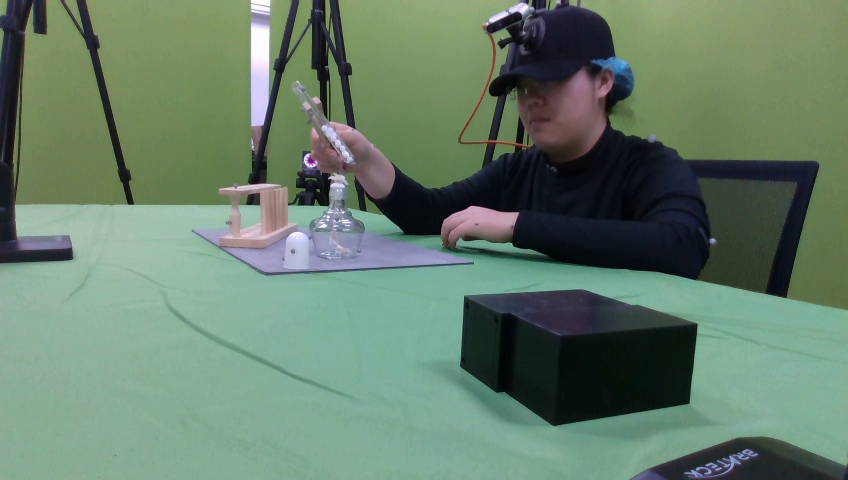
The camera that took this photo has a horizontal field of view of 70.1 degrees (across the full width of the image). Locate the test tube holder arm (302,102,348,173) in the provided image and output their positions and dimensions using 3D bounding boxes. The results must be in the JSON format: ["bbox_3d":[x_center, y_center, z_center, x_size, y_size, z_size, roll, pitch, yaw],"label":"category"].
[{"bbox_3d":[-0.146,-0.150,0.910,0.015,0.013,0.179,48,-8,24],"label":"test tube holder arm"}]

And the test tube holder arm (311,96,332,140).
[{"bbox_3d":[-0.147,-0.173,0.871,0.010,0.015,0.088,-35,-25,-16],"label":"test tube holder arm"}]

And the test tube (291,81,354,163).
[{"bbox_3d":[-0.142,-0.165,0.844,0.017,0.150,0.017,-33,-16,-11],"label":"test tube"}]

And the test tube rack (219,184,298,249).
[{"bbox_3d":[-0.266,-0.045,1.001,0.067,0.085,0.242,3,7,0],"label":"test tube rack"}]

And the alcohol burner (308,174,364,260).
[{"bbox_3d":[-0.121,-0.033,0.841,0.078,0.119,0.078,3,5,0],"label":"alcohol burner"}]

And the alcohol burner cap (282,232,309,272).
[{"bbox_3d":[-0.157,0.014,0.740,0.034,0.048,0.034,2,6,0],"label":"alcohol burner cap"}]
